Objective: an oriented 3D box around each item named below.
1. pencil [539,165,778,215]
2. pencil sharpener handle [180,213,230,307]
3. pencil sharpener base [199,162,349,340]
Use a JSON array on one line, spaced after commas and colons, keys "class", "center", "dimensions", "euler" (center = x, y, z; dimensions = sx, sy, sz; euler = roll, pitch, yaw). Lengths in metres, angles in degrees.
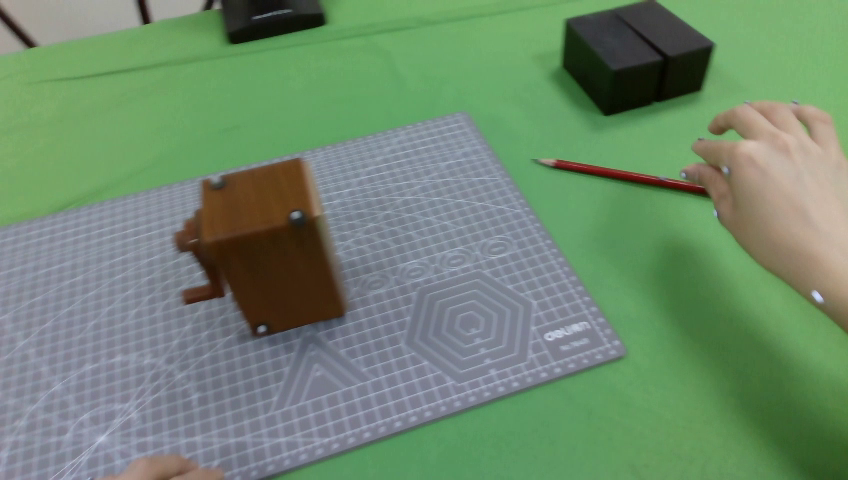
[{"class": "pencil", "center": [0.192, -0.045, 0.514], "dimensions": [0.193, 0.012, 0.012], "euler": [13, 50, 19]}, {"class": "pencil sharpener handle", "center": [-0.149, 0.016, 0.396], "dimensions": [0.031, 0.068, 0.035], "euler": [-14, 37, -7]}, {"class": "pencil sharpener base", "center": [-0.099, 0.011, 0.413], "dimensions": [0.077, 0.108, 0.060], "euler": [-14, 48, -7]}]
